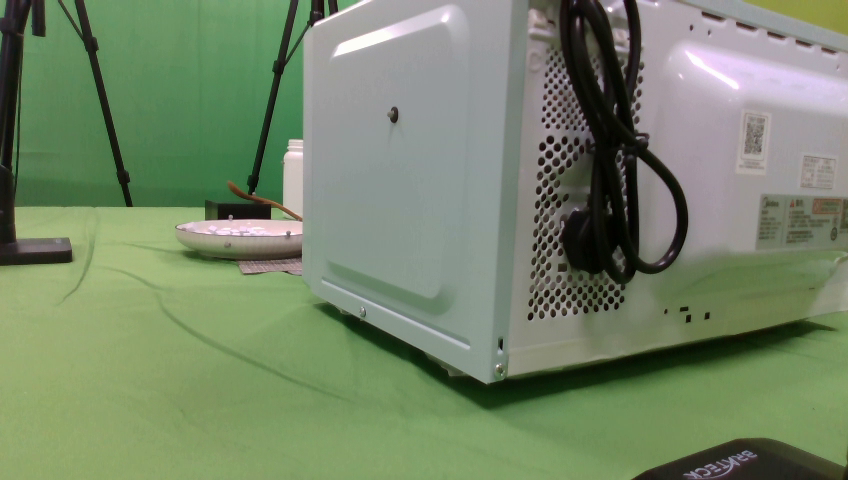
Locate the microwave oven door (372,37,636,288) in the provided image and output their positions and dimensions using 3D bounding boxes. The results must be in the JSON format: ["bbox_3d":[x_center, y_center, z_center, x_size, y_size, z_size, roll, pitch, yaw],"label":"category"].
[{"bbox_3d":[0.110,-0.080,0.686,0.358,0.243,0.039,-2,9,-33],"label":"microwave oven door"}]

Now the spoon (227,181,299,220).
[{"bbox_3d":[-0.315,-0.074,1.234,0.195,0.021,0.041,24,-9,-37],"label":"spoon"}]

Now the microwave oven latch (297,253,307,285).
[{"bbox_3d":[-0.082,0.027,0.582,0.079,0.029,0.030,-1,7,-33],"label":"microwave oven latch"}]

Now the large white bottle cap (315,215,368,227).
[{"bbox_3d":[-0.178,-0.041,1.308,0.115,0.018,0.115,2,6,0],"label":"large white bottle cap"}]

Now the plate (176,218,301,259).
[{"bbox_3d":[-0.248,-0.003,0.877,0.209,0.038,0.209,1,8,0],"label":"plate"}]

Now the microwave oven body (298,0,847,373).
[{"bbox_3d":[0.151,-0.055,0.543,0.444,0.260,0.324,-1,7,-33],"label":"microwave oven body"}]

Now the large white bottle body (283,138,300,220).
[{"bbox_3d":[-0.265,-0.143,1.423,0.131,0.184,0.130,2,7,0],"label":"large white bottle body"}]

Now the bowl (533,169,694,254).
[{"bbox_3d":[0.181,-0.030,0.595,0.151,0.077,0.151,1,7,0],"label":"bowl"}]
